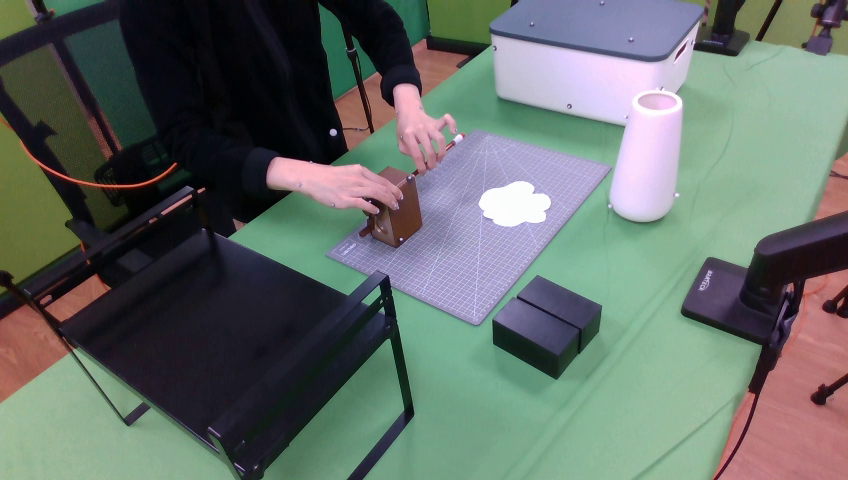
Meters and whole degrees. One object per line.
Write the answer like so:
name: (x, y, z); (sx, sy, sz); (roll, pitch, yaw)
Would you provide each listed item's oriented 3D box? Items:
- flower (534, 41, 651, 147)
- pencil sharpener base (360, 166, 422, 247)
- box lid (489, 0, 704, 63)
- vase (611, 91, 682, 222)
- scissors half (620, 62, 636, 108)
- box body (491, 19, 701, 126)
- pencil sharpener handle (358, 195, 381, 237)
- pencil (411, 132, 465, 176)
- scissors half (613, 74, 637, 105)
flower: (0.364, -0.319, 1.318); (0.038, 0.044, 0.359); (-4, 48, -50)
pencil sharpener base: (-0.053, -0.052, 0.973); (0.061, 0.107, 0.077); (24, 50, 33)
box lid: (0.345, -0.441, 1.217); (0.369, 0.015, 0.264); (21, 49, 29)
vase: (0.348, -0.125, 0.935); (0.098, 0.201, 0.097); (-3, 40, 3)
scissors half: (0.434, -0.340, 1.298); (0.013, 0.040, 0.174); (25, 42, -11)
box body: (0.352, -0.384, 1.268); (0.361, 0.161, 0.255); (21, 48, 29)
pencil sharpener handle: (-0.089, -0.034, 0.938); (0.036, 0.068, 0.031); (32, 54, 23)
pencil: (0.010, -0.132, 1.014); (0.012, 0.012, 0.194); (24, 50, 31)
scissors half: (0.427, -0.330, 1.306); (0.013, 0.040, 0.174); (31, 31, -14)
